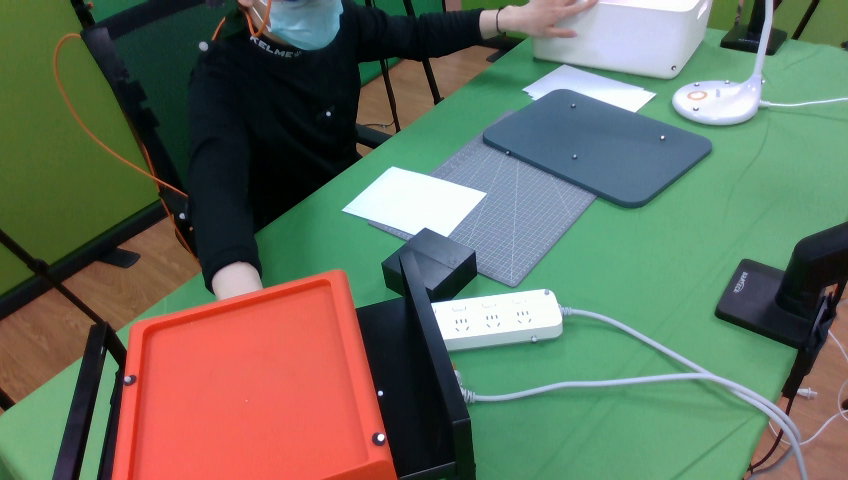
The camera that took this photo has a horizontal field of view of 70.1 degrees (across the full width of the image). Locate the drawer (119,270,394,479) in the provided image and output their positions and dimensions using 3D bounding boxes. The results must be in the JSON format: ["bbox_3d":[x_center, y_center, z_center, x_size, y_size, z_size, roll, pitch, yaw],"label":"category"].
[{"bbox_3d":[-0.141,0.139,0.509,0.195,0.073,0.210,-14,42,-8],"label":"drawer"}]

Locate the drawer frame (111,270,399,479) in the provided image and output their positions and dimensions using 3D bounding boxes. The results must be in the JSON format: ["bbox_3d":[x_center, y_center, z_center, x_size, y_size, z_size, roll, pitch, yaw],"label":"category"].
[{"bbox_3d":[-0.140,0.140,0.506,0.202,0.083,0.212,-15,41,-9],"label":"drawer frame"}]

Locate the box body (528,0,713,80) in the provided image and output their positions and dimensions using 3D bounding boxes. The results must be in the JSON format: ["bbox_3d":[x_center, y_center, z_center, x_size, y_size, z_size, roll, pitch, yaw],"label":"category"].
[{"bbox_3d":[0.451,-0.513,1.398,0.361,0.161,0.254,19,47,28],"label":"box body"}]

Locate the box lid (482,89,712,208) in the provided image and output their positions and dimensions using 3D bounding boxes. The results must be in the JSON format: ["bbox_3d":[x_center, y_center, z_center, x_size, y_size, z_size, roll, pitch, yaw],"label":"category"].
[{"bbox_3d":[0.320,-0.190,1.156,0.264,0.015,0.368,-33,47,-28],"label":"box lid"}]

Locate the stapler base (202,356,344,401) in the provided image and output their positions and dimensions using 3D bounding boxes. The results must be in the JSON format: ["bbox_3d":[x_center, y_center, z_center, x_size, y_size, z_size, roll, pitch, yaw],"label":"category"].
[{"bbox_3d":[-0.142,0.124,0.557,0.130,0.024,0.041,-2,43,3],"label":"stapler base"}]

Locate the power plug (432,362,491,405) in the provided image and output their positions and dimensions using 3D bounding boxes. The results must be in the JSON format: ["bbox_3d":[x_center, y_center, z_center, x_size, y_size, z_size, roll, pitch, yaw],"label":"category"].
[{"bbox_3d":[0.044,0.182,0.759,0.073,0.035,0.052,22,42,-18],"label":"power plug"}]

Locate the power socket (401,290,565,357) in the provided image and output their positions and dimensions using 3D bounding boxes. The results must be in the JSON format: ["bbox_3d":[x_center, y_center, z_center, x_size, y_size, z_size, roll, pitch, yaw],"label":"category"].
[{"bbox_3d":[0.080,0.113,0.821,0.227,0.033,0.072,-6,41,0],"label":"power socket"}]

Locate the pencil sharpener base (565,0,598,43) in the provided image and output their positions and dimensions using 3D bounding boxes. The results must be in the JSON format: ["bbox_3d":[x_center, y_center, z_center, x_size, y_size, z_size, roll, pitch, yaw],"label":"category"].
[{"bbox_3d":[0.387,-0.551,1.484,0.061,0.107,0.077,13,44,23],"label":"pencil sharpener base"}]

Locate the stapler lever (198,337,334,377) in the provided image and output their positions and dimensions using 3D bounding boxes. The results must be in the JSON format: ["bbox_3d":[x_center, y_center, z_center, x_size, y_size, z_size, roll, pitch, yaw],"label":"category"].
[{"bbox_3d":[-0.142,0.105,0.541,0.118,0.040,0.026,-3,43,4],"label":"stapler lever"}]

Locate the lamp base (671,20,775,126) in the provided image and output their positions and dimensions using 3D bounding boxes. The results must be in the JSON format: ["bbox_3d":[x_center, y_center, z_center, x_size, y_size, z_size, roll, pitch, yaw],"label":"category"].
[{"bbox_3d":[0.582,-0.332,1.153,0.179,0.181,0.160,2,41,7],"label":"lamp base"}]

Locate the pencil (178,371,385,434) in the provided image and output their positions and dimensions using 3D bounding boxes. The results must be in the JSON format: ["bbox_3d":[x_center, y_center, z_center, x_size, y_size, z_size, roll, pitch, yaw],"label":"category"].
[{"bbox_3d":[-0.128,0.141,0.534,0.194,0.012,0.012,14,44,7],"label":"pencil"}]

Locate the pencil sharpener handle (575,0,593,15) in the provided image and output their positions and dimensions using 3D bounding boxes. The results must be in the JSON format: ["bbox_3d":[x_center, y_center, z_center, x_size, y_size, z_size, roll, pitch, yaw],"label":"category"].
[{"bbox_3d":[0.401,-0.595,1.512,0.036,0.067,0.030,35,48,1],"label":"pencil sharpener handle"}]

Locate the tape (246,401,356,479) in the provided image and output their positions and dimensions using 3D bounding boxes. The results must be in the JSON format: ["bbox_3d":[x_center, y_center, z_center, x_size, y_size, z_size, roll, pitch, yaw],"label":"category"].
[{"bbox_3d":[-0.138,0.244,0.683,0.117,0.053,0.116,-4,40,4],"label":"tape"}]
